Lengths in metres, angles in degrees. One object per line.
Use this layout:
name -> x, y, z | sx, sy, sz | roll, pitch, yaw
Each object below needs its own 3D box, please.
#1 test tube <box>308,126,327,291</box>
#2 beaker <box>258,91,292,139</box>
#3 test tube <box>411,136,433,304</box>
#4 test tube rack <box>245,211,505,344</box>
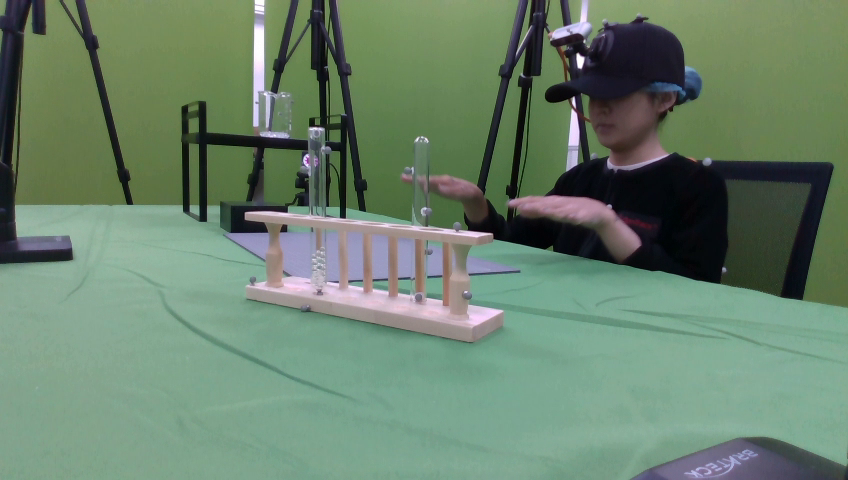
test tube -> -0.096, -0.028, 0.549 | 0.017, 0.150, 0.017 | 1, 7, 0
beaker -> -0.331, -0.276, 1.343 | 0.074, 0.100, 0.083 | 0, 8, -20
test tube -> -0.002, -0.017, 0.538 | 0.017, 0.150, 0.017 | 2, 7, 0
test tube rack -> -0.049, 0.024, 0.547 | 0.241, 0.085, 0.067 | 7, 8, 28
